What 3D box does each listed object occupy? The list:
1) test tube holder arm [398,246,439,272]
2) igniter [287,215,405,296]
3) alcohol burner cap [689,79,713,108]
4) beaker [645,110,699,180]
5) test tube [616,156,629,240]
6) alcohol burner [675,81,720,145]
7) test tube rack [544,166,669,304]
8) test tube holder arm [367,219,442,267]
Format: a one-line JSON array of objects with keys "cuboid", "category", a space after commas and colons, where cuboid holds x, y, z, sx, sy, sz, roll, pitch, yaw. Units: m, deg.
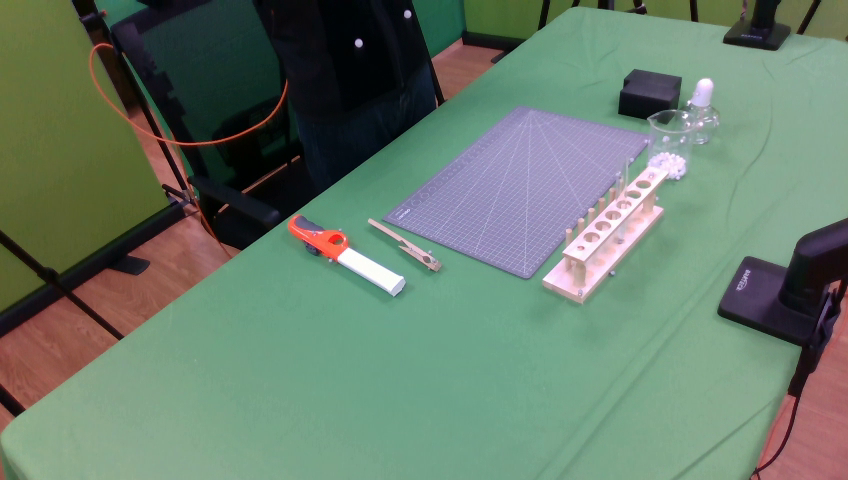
[{"cuboid": [-0.009, 0.027, 0.956, 0.087, 0.015, 0.010, 34, 89, 40], "category": "test tube holder arm"}, {"cuboid": [-0.137, 0.019, 0.980, 0.274, 0.025, 0.057, 28, 62, 36], "category": "igniter"}, {"cuboid": [0.492, -0.262, 1.071, 0.034, 0.048, 0.033, -1, 45, 2], "category": "alcohol burner cap"}, {"cuboid": [0.417, -0.160, 1.032, 0.083, 0.101, 0.074, 25, 51, 34], "category": "beaker"}, {"cuboid": [0.284, -0.057, 0.869, 0.017, 0.151, 0.017, -8, 42, 8], "category": "test tube"}, {"cuboid": [0.497, -0.234, 1.094, 0.078, 0.119, 0.077, -5, 43, 5], "category": "alcohol burner"}, {"cuboid": [0.274, -0.018, 0.903, 0.066, 0.085, 0.243, 26, 51, 35], "category": "test tube rack"}, {"cuboid": [-0.035, 0.004, 0.985, 0.177, 0.015, 0.013, 32, 88, 40], "category": "test tube holder arm"}]
